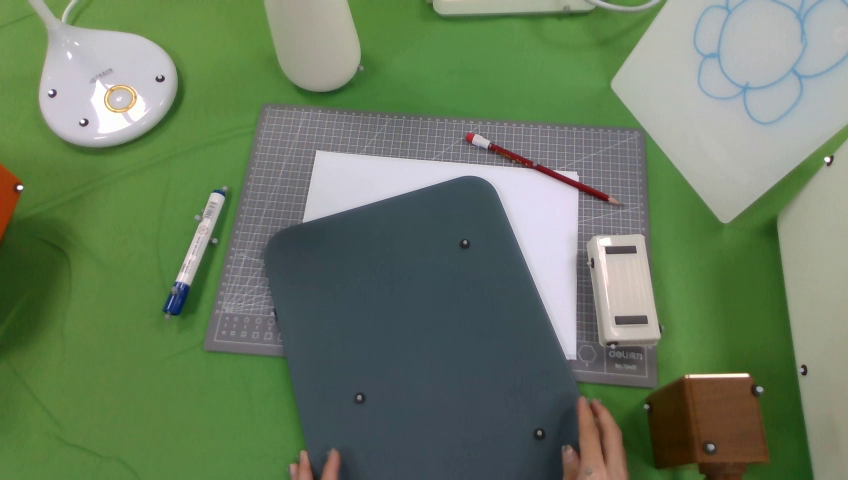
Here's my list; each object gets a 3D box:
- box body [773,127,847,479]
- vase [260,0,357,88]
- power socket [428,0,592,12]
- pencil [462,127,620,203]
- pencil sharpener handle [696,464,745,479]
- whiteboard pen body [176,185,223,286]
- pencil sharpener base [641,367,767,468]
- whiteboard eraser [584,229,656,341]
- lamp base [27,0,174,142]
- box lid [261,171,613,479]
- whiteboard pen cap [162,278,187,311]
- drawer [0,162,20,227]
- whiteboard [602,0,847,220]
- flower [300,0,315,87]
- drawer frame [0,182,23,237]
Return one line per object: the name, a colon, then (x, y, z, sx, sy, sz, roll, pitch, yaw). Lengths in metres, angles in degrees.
box body: (0.476, 0.092, 0.521, 0.254, 0.161, 0.361, 4, 67, 2)
vase: (-0.132, -0.257, 0.655, 0.098, 0.201, 0.097, -1, 66, 2)
power socket: (0.110, -0.329, 0.772, 0.227, 0.033, 0.071, -1, 68, 0)
pencil: (0.130, -0.084, 0.680, 0.193, 0.012, 0.012, 27, 70, 9)
pencil sharpener handle: (0.241, 0.200, 0.496, 0.036, 0.068, 0.030, -5, 67, 11)
whiteboard pen body: (-0.241, 0.003, 0.642, 0.017, 0.017, 0.140, 8, 64, 5)
pencil sharpener base: (0.238, 0.158, 0.527, 0.061, 0.108, 0.076, -1, 67, 1)
whiteboard eraser: (0.195, 0.045, 0.607, 0.055, 0.042, 0.112, -1, 67, -2)
lamp base: (-0.390, -0.223, 0.653, 0.178, 0.181, 0.160, 36, 71, 18)
box lid: (0.000, 0.112, 0.600, 0.263, 0.015, 0.368, -17, 69, -7)
whiteboard pen cap: (-0.253, 0.055, 0.616, 0.018, 0.018, 0.033, 9, 62, 5)
drawer: (-0.531, -0.002, 0.568, 0.211, 0.074, 0.193, 7, 68, 3)
whiteboard: (0.364, -0.203, 0.603, 0.144, 0.307, 0.215, -19, 66, -27)
flower: (-0.125, -0.305, 0.586, 0.038, 0.365, 0.043, -8, 49, -10)
drawer frame: (-0.537, 0.000, 0.570, 0.213, 0.083, 0.200, 7, 68, 1)
